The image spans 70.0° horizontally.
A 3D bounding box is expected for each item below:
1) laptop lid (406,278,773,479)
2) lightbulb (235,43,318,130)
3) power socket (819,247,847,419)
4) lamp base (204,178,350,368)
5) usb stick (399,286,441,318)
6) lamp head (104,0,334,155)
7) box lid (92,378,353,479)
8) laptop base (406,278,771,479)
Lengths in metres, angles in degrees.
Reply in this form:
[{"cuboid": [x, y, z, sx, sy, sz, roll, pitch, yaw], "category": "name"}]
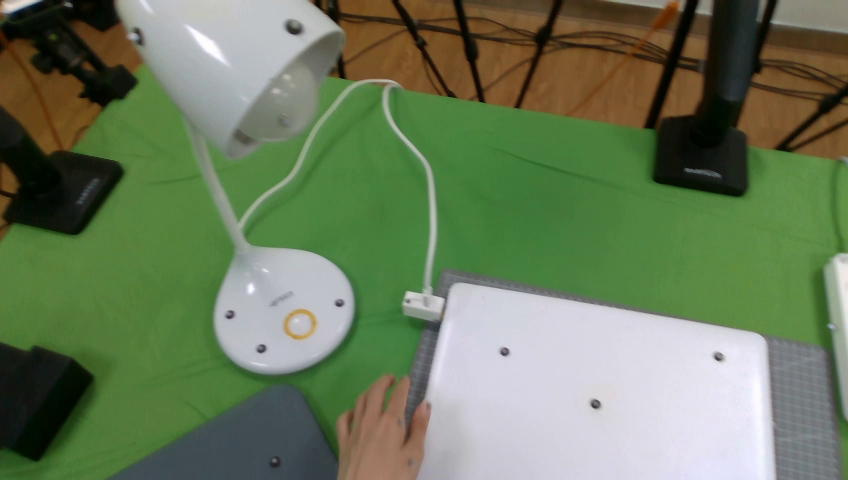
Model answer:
[{"cuboid": [0.175, 0.166, 0.630, 0.356, 0.013, 0.240, 10, 60, 8], "category": "laptop lid"}, {"cuboid": [-0.107, -0.122, 0.382, 0.059, 0.059, 0.108, -25, 98, -15], "category": "lightbulb"}, {"cuboid": [0.491, 0.103, 0.670, 0.072, 0.033, 0.225, 11, 57, 7], "category": "power socket"}, {"cuboid": [-0.179, 0.025, 0.649, 0.177, 0.182, 0.160, 36, 64, 25], "category": "lamp base"}, {"cuboid": [0.001, 0.072, 0.695, 0.059, 0.027, 0.021, 13, 53, 6], "category": "usb stick"}, {"cuboid": [-0.137, -0.132, 0.388, 0.123, 0.112, 0.112, 39, 63, -2], "category": "lamp head"}, {"cuboid": [-0.160, 0.327, 0.551, 0.263, 0.015, 0.368, -29, 61, -16], "category": "box lid"}, {"cuboid": [0.176, 0.171, 0.642, 0.354, 0.023, 0.234, 9, 60, 7], "category": "laptop base"}]
